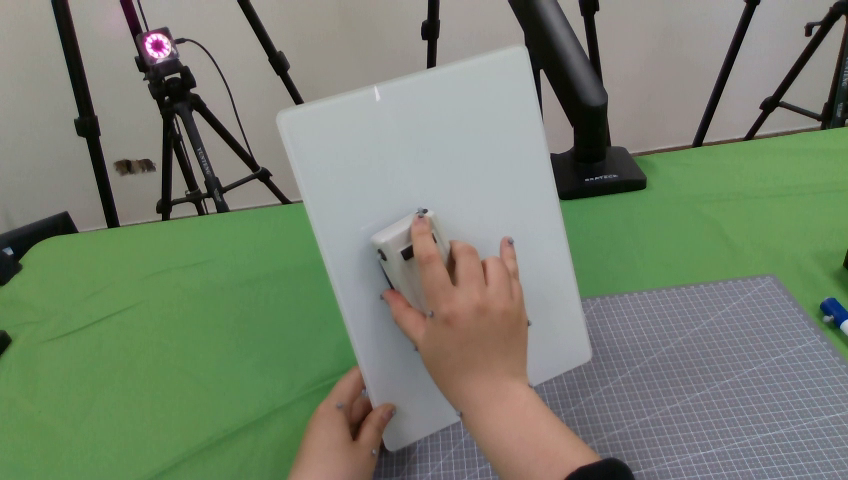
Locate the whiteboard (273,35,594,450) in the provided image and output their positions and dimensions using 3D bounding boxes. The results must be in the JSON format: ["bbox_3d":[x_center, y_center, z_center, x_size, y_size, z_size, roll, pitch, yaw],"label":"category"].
[{"bbox_3d":[0.005,-0.006,0.576,0.217,0.307,0.143,-20,16,-14],"label":"whiteboard"}]

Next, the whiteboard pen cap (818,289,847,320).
[{"bbox_3d":[0.398,0.063,0.583,0.018,0.018,0.033,-9,33,1],"label":"whiteboard pen cap"}]

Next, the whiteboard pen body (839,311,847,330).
[{"bbox_3d":[0.402,0.096,0.536,0.017,0.017,0.139,-8,34,2],"label":"whiteboard pen body"}]

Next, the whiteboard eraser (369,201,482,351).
[{"bbox_3d":[0.001,0.029,0.491,0.055,0.113,0.041,-28,19,-15],"label":"whiteboard eraser"}]
